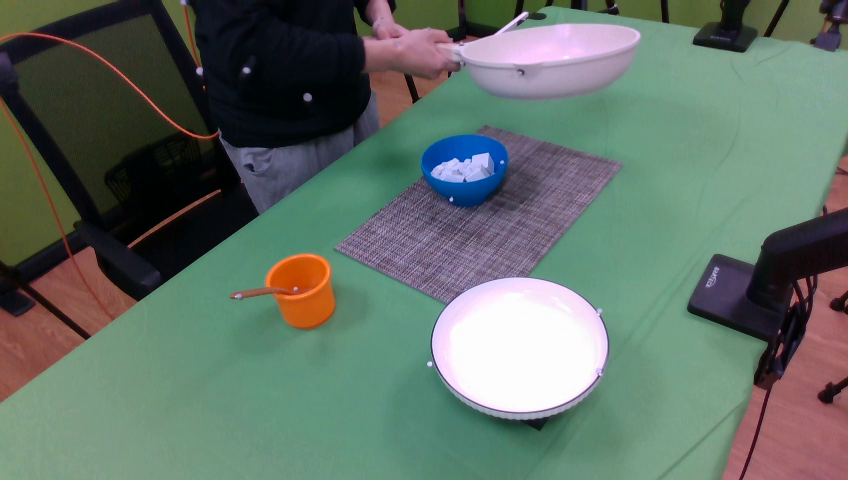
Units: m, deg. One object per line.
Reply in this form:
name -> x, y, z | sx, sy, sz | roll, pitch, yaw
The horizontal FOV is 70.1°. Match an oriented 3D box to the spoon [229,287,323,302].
spoon -> -0.197, 0.071, 0.817 | 0.041, 0.195, 0.021 | 13, 88, 23

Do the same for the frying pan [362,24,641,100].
frying pan -> 0.116, -0.326, 1.054 | 0.485, 0.103, 0.307 | 13, 32, 18

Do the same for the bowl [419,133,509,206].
bowl -> 0.071, -0.112, 1.038 | 0.151, 0.077, 0.150 | -4, 40, 4

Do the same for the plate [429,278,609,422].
plate -> 0.111, 0.129, 0.716 | 0.207, 0.039, 0.206 | -5, 39, 4
